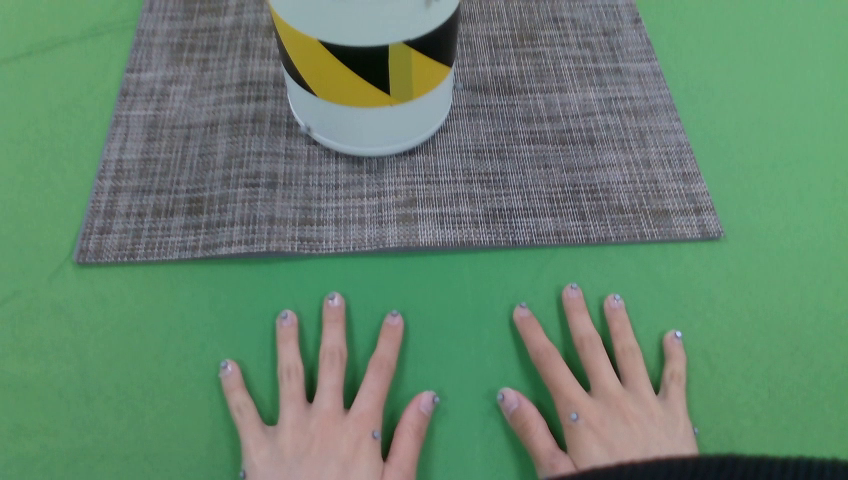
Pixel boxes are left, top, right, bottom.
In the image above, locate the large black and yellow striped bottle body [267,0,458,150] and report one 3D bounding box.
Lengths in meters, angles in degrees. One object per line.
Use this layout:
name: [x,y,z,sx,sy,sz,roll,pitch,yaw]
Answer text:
large black and yellow striped bottle body: [-0.041,-0.166,0.413,0.131,0.185,0.129,1,58,-2]
